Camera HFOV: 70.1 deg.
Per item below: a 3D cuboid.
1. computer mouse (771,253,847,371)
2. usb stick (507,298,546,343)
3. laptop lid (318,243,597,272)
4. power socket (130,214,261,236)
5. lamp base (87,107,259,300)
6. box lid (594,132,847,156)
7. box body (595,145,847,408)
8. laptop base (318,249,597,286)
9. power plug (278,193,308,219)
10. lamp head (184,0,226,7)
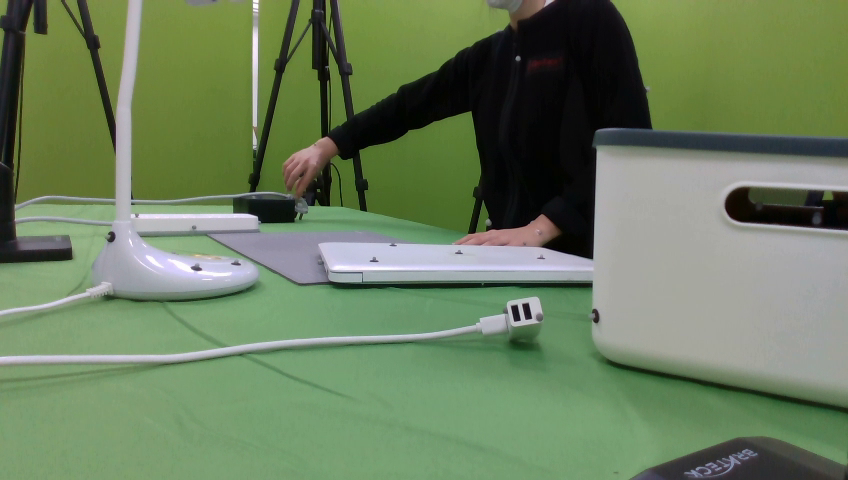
[{"bbox_3d":[0.344,0.057,0.518,0.063,0.041,0.117,13,48,3],"label":"computer mouse"},{"bbox_3d":[0.079,0.065,0.470,0.027,0.021,0.059,-12,-24,4],"label":"usb stick"},{"bbox_3d":[0.046,0.022,0.789,0.358,0.013,0.241,1,6,-12],"label":"laptop lid"},{"bbox_3d":[-0.397,-0.028,1.048,0.228,0.032,0.072,-3,8,-35],"label":"power socket"},{"bbox_3d":[-0.254,-0.039,0.603,0.160,0.180,0.179,5,10,18],"label":"lamp base"},{"bbox_3d":[0.311,-0.066,0.499,0.262,0.015,0.373,7,8,29],"label":"box lid"},{"bbox_3d":[0.309,0.007,0.510,0.253,0.160,0.366,6,8,29],"label":"box body"},{"bbox_3d":[0.046,0.034,0.789,0.355,0.023,0.235,1,5,-14],"label":"laptop base"},{"bbox_3d":[-0.293,-0.077,1.344,0.073,0.052,0.035,17,16,-16],"label":"power plug"},{"bbox_3d":[-0.229,-0.320,0.627,0.112,0.112,0.123,6,-35,26],"label":"lamp head"}]
